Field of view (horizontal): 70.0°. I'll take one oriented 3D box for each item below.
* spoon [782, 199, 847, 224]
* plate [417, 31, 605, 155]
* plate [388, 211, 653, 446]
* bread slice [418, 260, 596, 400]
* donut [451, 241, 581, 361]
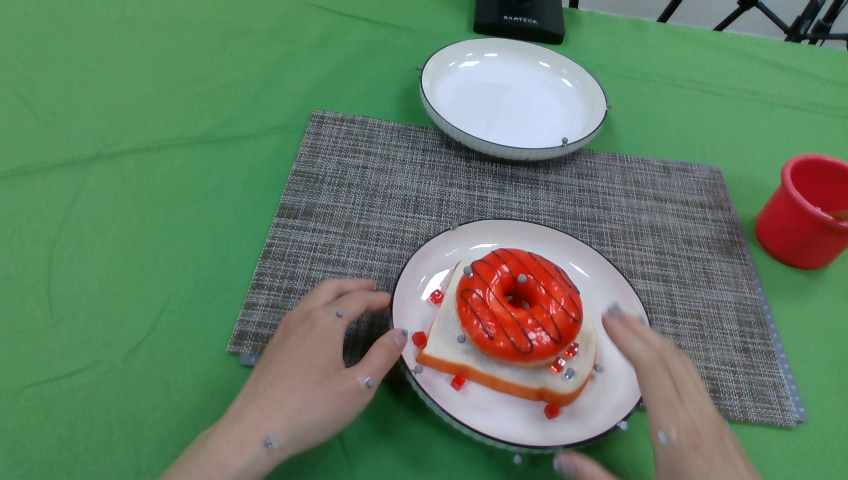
[{"bbox_3d":[0.364,-0.024,0.535,0.041,0.021,0.194,24,8,11],"label":"spoon"},{"bbox_3d":[0.094,-0.160,0.673,0.208,0.039,0.205,5,49,-5],"label":"plate"},{"bbox_3d":[0.074,0.065,0.484,0.209,0.038,0.207,4,51,-4],"label":"plate"},{"bbox_3d":[0.071,0.070,0.485,0.131,0.019,0.104,15,51,9],"label":"bread slice"},{"bbox_3d":[0.068,0.045,0.455,0.099,0.048,0.098,3,52,-4],"label":"donut"}]
